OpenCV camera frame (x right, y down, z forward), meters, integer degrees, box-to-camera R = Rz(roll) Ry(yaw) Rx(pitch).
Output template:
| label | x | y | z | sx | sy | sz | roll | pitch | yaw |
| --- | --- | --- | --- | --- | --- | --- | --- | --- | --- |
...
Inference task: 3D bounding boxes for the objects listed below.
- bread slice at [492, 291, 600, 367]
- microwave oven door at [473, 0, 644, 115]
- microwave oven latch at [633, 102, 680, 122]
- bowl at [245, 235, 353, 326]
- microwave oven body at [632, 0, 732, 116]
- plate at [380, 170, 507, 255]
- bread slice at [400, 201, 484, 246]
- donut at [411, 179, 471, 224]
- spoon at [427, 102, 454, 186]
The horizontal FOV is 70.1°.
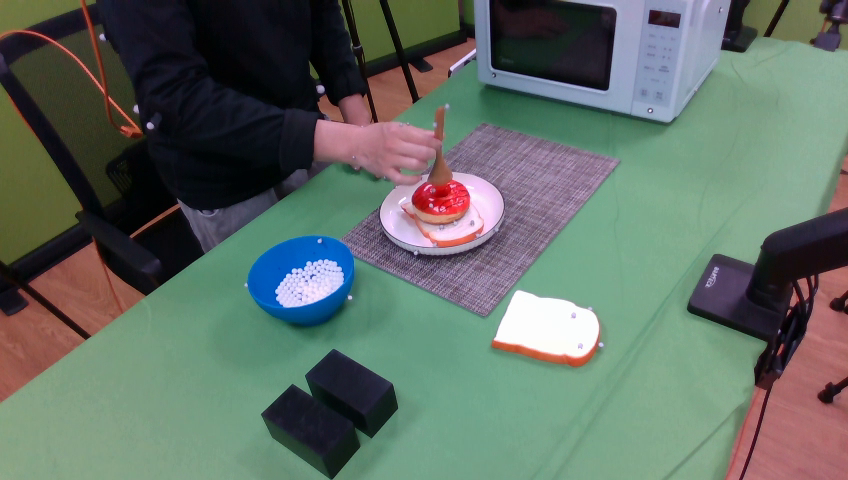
| label | x | y | z | sx | sy | sz | roll | pitch | yaw |
| --- | --- | --- | --- | --- | --- | --- | --- | --- | --- |
| bread slice | 0.169 | 0.118 | 0.811 | 0.131 | 0.019 | 0.105 | 11 | 44 | 22 |
| microwave oven door | 0.257 | -0.396 | 1.199 | 0.353 | 0.245 | 0.039 | 21 | 48 | 29 |
| microwave oven latch | 0.444 | -0.249 | 1.157 | 0.078 | 0.029 | 0.030 | 21 | 49 | 30 |
| bowl | -0.170 | 0.070 | 0.868 | 0.151 | 0.077 | 0.150 | -4 | 41 | 4 |
| microwave oven body | 0.377 | -0.462 | 1.267 | 0.438 | 0.261 | 0.327 | 21 | 48 | 30 |
| plate | 0.033 | -0.042 | 0.995 | 0.207 | 0.039 | 0.206 | -4 | 40 | 4 |
| bread slice | 0.037 | -0.038 | 0.991 | 0.107 | 0.018 | 0.133 | -23 | 42 | -17 |
| donut | 0.029 | -0.064 | 0.978 | 0.099 | 0.048 | 0.098 | -4 | 40 | 4 |
| spoon | 0.021 | -0.132 | 0.865 | 0.042 | 0.194 | 0.021 | -8 | 59 | -2 |
